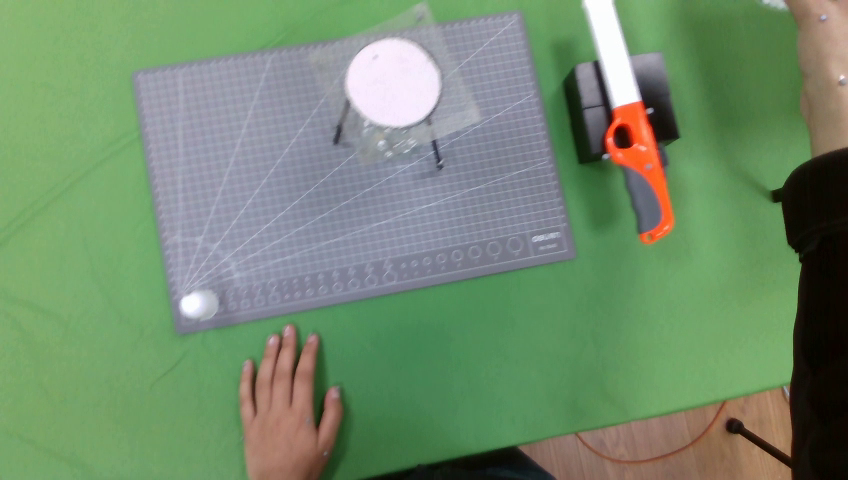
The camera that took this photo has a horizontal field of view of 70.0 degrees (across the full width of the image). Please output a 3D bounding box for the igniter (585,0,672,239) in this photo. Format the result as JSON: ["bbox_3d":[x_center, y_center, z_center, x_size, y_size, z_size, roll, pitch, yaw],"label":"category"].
[{"bbox_3d":[0.219,-0.139,0.651,0.057,0.025,0.276,-13,86,6],"label":"igniter"}]

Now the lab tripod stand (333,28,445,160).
[{"bbox_3d":[-0.029,-0.151,0.623,0.148,0.131,0.148,0,83,-3],"label":"lab tripod stand"}]

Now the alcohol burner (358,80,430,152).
[{"bbox_3d":[-0.031,-0.134,0.632,0.078,0.119,0.078,0,86,-4],"label":"alcohol burner"}]

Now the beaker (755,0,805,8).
[{"bbox_3d":[0.306,-0.239,0.481,0.084,0.100,0.074,23,84,0],"label":"beaker"}]

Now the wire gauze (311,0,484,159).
[{"bbox_3d":[-0.024,-0.150,0.557,0.125,0.011,0.121,-24,87,-6],"label":"wire gauze"}]

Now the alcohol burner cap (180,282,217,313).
[{"bbox_3d":[-0.239,0.060,0.636,0.034,0.048,0.034,0,85,-5],"label":"alcohol burner cap"}]
